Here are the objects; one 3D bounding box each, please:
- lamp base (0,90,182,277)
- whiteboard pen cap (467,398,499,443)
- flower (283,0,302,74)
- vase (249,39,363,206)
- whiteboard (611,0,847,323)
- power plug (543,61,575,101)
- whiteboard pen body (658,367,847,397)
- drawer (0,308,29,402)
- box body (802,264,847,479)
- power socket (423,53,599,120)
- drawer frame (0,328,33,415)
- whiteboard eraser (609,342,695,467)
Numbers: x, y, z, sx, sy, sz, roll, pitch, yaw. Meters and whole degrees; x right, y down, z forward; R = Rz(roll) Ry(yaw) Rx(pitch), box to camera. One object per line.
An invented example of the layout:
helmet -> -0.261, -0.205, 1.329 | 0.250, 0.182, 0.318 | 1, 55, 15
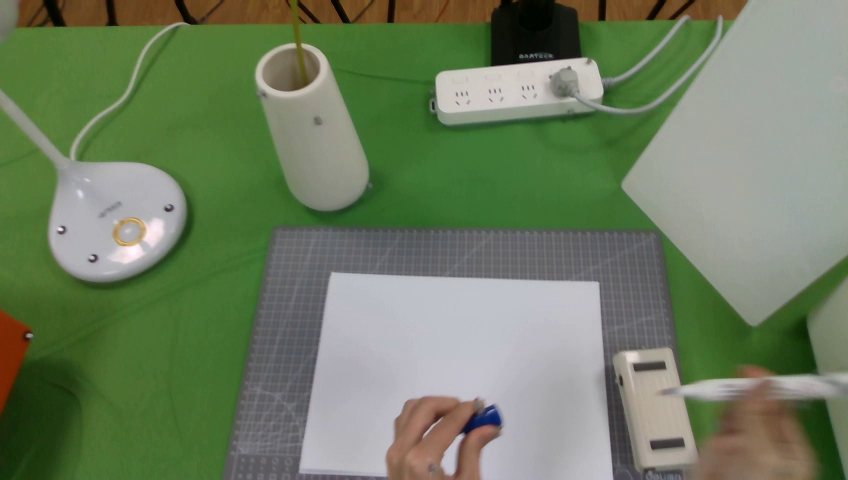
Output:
lamp base -> -0.382, -0.071, 0.655 | 0.178, 0.182, 0.160 | 31, 68, 21
whiteboard pen cap -> 0.045, 0.135, 0.455 | 0.018, 0.018, 0.033 | 19, 39, 13
flower -> -0.124, -0.174, 0.591 | 0.038, 0.365, 0.043 | -11, 44, -10
vase -> -0.127, -0.120, 0.656 | 0.098, 0.201, 0.097 | -2, 62, 4
whiteboard -> 0.371, -0.101, 0.595 | 0.144, 0.307, 0.215 | -20, 61, -28
power plug -> 0.164, -0.187, 0.742 | 0.035, 0.053, 0.072 | 4, 65, 6
whiteboard pen body -> 0.231, 0.096, 0.405 | 0.140, 0.017, 0.017 | -8, 60, 20
drawer -> -0.511, 0.151, 0.554 | 0.211, 0.074, 0.193 | 3, 64, 5
box body -> 0.499, 0.180, 0.489 | 0.254, 0.161, 0.361 | 0, 63, 3
power socket -> 0.112, -0.197, 0.776 | 0.227, 0.033, 0.071 | -5, 63, 0
drawer frame -> -0.517, 0.153, 0.555 | 0.213, 0.083, 0.200 | 4, 64, 3
whiteboard eraser -> 0.217, 0.156, 0.581 | 0.055, 0.042, 0.111 | -4, 63, -1
